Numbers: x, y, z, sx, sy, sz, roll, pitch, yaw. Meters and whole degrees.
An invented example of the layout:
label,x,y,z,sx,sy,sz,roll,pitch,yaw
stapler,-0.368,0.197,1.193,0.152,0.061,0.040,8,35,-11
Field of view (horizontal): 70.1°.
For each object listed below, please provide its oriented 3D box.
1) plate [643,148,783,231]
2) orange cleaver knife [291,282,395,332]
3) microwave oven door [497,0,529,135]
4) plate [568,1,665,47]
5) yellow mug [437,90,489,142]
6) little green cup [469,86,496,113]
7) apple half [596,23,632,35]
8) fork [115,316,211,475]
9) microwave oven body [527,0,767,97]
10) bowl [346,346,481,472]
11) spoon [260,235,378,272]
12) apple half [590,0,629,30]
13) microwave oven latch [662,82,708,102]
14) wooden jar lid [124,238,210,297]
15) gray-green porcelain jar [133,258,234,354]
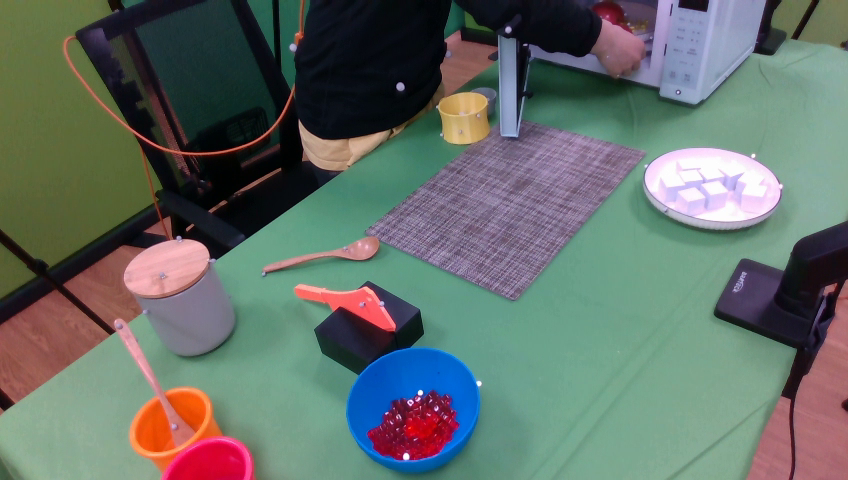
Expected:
label,x,y,z,sx,sy,sz,roll,pitch,yaw
plate,0.465,-0.080,0.986,0.207,0.039,0.206,-4,41,4
orange cleaver knife,-0.116,0.091,0.835,0.209,0.077,0.012,1,32,47
microwave oven door,0.184,-0.410,1.226,0.039,0.245,0.355,3,42,12
plate,0.431,-0.485,1.365,0.209,0.038,0.208,-3,41,3
yellow mug,0.069,-0.257,1.224,0.100,0.064,0.129,-32,44,-27
little green cup,0.123,-0.298,1.285,0.061,0.039,0.061,-4,40,3
apple half,0.416,-0.460,1.327,0.081,0.033,0.081,-1,37,2
fork,-0.309,0.180,0.708,0.028,0.018,0.207,-29,89,-24
microwave oven body,0.473,-0.516,1.313,0.438,0.261,0.327,26,51,34
bowl,-0.008,0.205,0.691,0.151,0.077,0.150,-4,40,4
spoon,-0.168,0.024,0.966,0.194,0.022,0.041,-10,58,-3
apple half,0.419,-0.518,1.377,0.081,0.053,0.074,-35,31,-20
microwave oven latch,0.518,-0.298,1.203,0.078,0.029,0.030,28,53,35
wooden jar lid,-0.335,0.039,0.794,0.108,0.021,0.108,-2,40,2
gray-green porcelain jar,-0.328,0.087,0.836,0.106,0.127,0.105,-4,41,4
